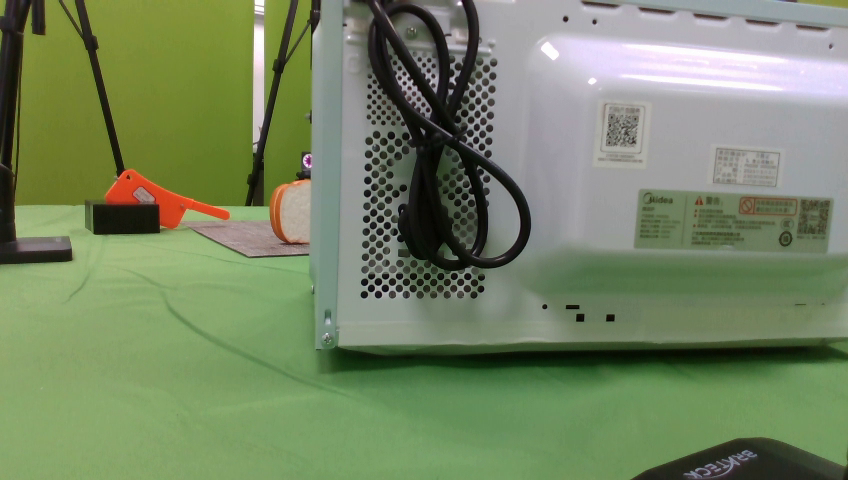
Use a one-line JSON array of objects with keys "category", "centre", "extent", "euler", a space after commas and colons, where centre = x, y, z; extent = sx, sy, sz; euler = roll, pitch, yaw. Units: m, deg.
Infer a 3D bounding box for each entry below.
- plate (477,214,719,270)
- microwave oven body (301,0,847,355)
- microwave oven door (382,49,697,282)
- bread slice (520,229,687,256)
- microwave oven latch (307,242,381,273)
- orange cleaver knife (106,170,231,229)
[{"category": "plate", "centre": [0.151, -0.001, 0.545], "extent": [0.208, 0.039, 0.207], "euler": [0, 5, 0]}, {"category": "microwave oven body", "centre": [0.120, -0.053, 0.535], "extent": [0.443, 0.260, 0.325], "euler": [2, 7, -11]}, {"category": "microwave oven door", "centre": [0.135, -0.077, 0.685], "extent": [0.357, 0.243, 0.039], "euler": [1, 8, -12]}, {"category": "bread slice", "centre": [0.172, 0.002, 0.564], "extent": [0.134, 0.018, 0.107], "euler": [-2, 4, 30]}, {"category": "microwave oven latch", "centre": [-0.086, 0.019, 0.656], "extent": [0.079, 0.029, 0.030], "euler": [2, 7, -10]}, {"category": "orange cleaver knife", "centre": [-0.458, -0.060, 1.097], "extent": [0.212, 0.077, 0.012], "euler": [23, -4, -38]}]
